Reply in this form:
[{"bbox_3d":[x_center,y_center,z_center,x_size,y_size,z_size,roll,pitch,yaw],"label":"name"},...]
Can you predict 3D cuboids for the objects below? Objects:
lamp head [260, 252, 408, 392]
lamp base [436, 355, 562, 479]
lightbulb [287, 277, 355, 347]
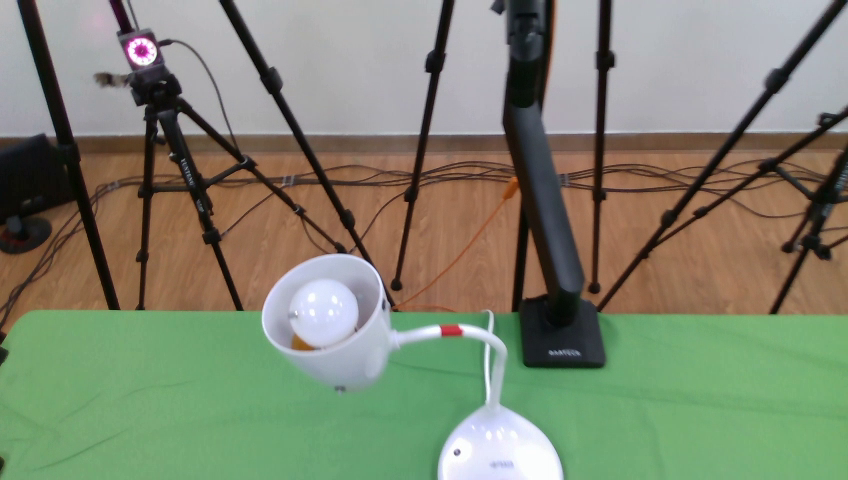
[{"bbox_3d":[-0.077,0.088,0.576,0.112,0.124,0.111,-11,47,13],"label":"lamp head"},{"bbox_3d":[0.090,0.235,0.730,0.161,0.182,0.177,-10,46,-7],"label":"lamp base"},{"bbox_3d":[-0.087,0.077,0.555,0.059,0.109,0.059,-6,52,8],"label":"lightbulb"}]
